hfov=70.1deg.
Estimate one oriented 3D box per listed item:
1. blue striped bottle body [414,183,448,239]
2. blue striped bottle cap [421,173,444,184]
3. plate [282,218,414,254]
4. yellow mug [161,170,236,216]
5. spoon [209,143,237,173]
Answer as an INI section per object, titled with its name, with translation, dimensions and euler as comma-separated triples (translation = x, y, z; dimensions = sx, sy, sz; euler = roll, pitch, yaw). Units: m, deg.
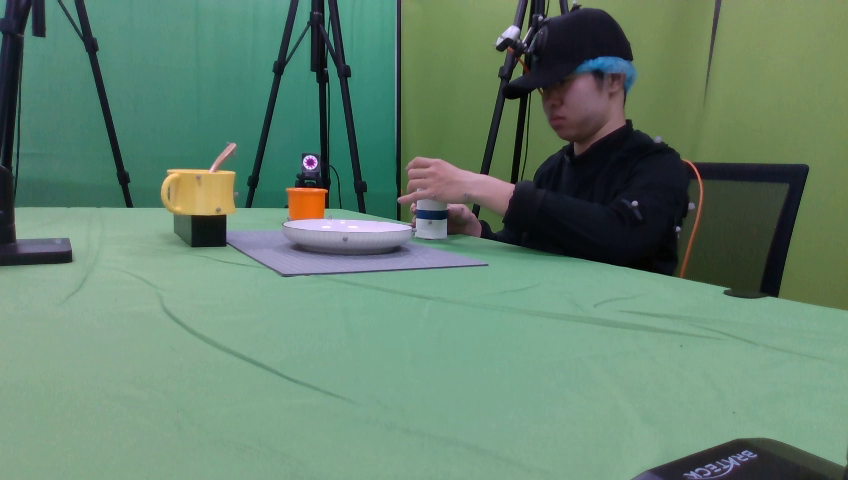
[blue striped bottle body]
translation = 0.014, -0.065, 1.166
dimensions = 0.063, 0.120, 0.063
euler = 2, 8, 0
[blue striped bottle cap]
translation = 0.016, -0.118, 1.159
dimensions = 0.044, 0.020, 0.044
euler = -1, 6, 0
[plate]
translation = -0.121, -0.007, 0.971
dimensions = 0.208, 0.039, 0.207
euler = 2, 7, 0
[yellow mug]
translation = -0.354, -0.074, 0.935
dimensions = 0.099, 0.064, 0.131
euler = 5, 10, 21
[spoon]
translation = -0.341, -0.113, 0.990
dimensions = 0.041, 0.021, 0.193
euler = 1, 40, 6
